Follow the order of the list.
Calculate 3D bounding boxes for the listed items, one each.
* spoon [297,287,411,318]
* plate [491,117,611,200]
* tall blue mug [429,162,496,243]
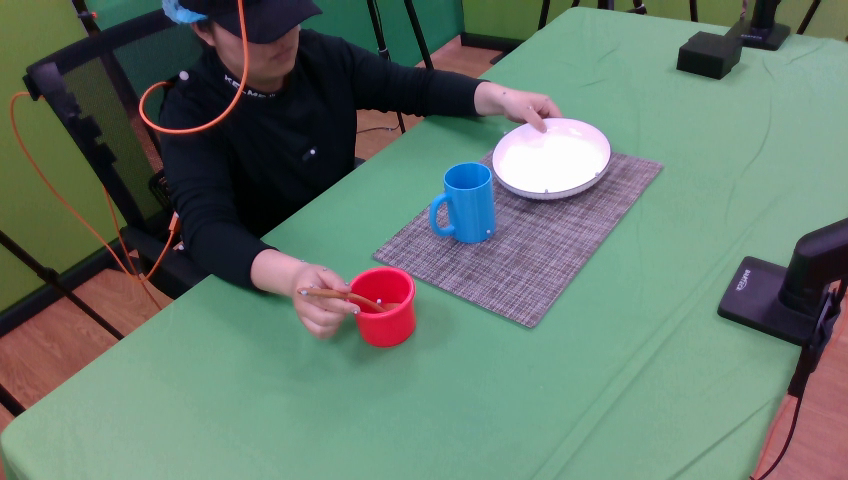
[{"bbox_3d":[-0.089,0.081,0.806,0.041,0.195,0.021,33,97,44],"label":"spoon"},{"bbox_3d":[0.225,-0.141,1.079,0.207,0.039,0.206,-7,46,8],"label":"plate"},{"bbox_3d":[0.067,-0.051,0.961,0.077,0.108,0.107,18,47,28],"label":"tall blue mug"}]
